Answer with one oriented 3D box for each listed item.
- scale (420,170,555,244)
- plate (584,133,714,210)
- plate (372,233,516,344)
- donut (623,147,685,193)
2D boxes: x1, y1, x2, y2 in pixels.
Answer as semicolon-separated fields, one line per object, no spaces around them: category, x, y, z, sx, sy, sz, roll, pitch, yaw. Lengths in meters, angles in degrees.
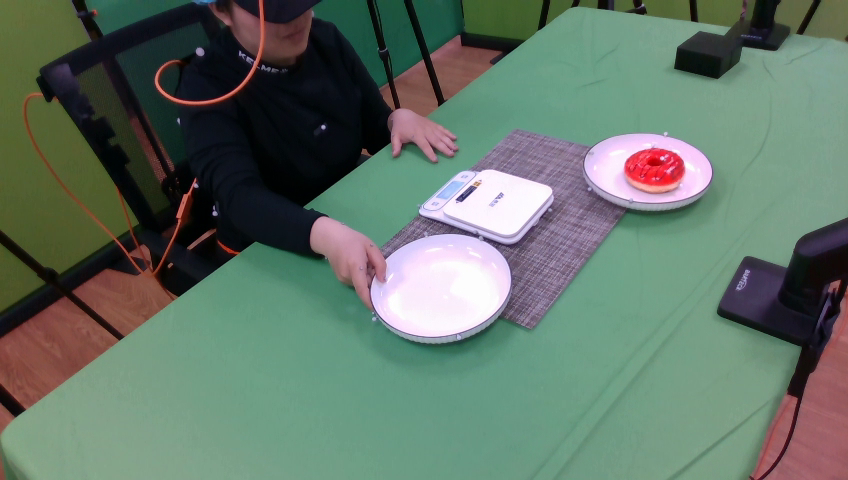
scale;0.106;-0.065;1.029;0.199;0.032;0.149;21;48;32
plate;0.379;-0.113;1.030;0.209;0.038;0.208;-4;41;4
plate;0.030;0.072;0.879;0.207;0.039;0.206;-6;42;6
donut;0.388;-0.119;1.019;0.099;0.048;0.098;-4;42;4
